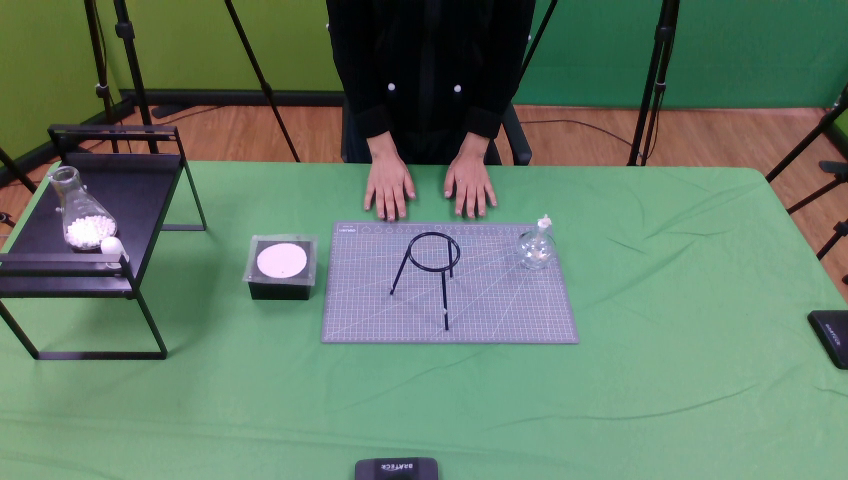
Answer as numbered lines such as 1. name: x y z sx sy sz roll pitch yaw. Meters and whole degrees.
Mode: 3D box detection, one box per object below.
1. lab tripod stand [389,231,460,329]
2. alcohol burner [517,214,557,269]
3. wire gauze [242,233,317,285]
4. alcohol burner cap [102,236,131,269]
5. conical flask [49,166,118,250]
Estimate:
1. lab tripod stand: 0.015 0.063 1.058 0.148 0.132 0.147 4 46 -4
2. alcohol burner: 0.217 -0.002 1.149 0.078 0.120 0.077 2 44 -2
3. wire gauze: -0.257 0.032 1.088 0.125 0.011 0.120 1 44 -5
4. alcohol burner cap: -0.451 0.016 0.883 0.034 0.048 0.033 3 44 -3
5. conical flask: -0.505 -0.051 0.888 0.075 0.122 0.075 2 45 -2
